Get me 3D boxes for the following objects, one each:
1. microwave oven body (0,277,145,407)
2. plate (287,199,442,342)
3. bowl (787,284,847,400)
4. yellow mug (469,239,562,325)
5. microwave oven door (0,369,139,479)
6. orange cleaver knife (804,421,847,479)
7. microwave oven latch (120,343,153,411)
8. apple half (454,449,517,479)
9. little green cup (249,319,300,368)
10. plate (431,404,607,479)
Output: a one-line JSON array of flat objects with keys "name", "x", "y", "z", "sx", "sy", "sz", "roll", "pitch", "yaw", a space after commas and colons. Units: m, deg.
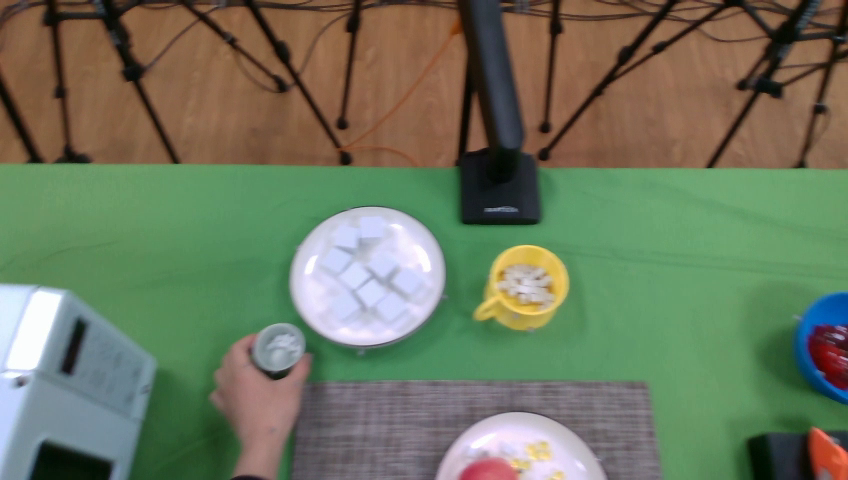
[{"name": "microwave oven body", "x": -0.508, "y": 0.274, "z": 0.571, "sx": 0.326, "sy": 0.262, "sz": 0.438, "roll": 4, "pitch": 65, "yaw": -1}, {"name": "plate", "x": -0.080, "y": 0.042, "z": 0.827, "sx": 0.208, "sy": 0.039, "sz": 0.206, "roll": 1, "pitch": 64, "yaw": -2}, {"name": "bowl", "x": 0.533, "y": 0.140, "z": 0.782, "sx": 0.151, "sy": 0.077, "sz": 0.150, "roll": 1, "pitch": 65, "yaw": -1}, {"name": "yellow mug", "x": 0.116, "y": 0.064, "z": 0.808, "sx": 0.131, "sy": 0.064, "sz": 0.099, "roll": -29, "pitch": 68, "yaw": -14}, {"name": "microwave oven door", "x": -0.364, "y": 0.318, "z": 0.550, "sx": 0.039, "sy": 0.245, "sz": 0.353, "roll": 3, "pitch": 64, "yaw": -1}, {"name": "orange cleaver knife", "x": 0.456, "y": 0.319, "z": 0.692, "sx": 0.012, "sy": 0.077, "sz": 0.211, "roll": 1, "pitch": 88, "yaw": 3}, {"name": "microwave oven latch", "x": -0.354, "y": 0.166, "z": 0.736, "sx": 0.030, "sy": 0.030, "sz": 0.078, "roll": 5, "pitch": 65, "yaw": 0}, {"name": "apple half", "x": 0.073, "y": 0.282, "z": 0.697, "sx": 0.075, "sy": 0.054, "sz": 0.080, "roll": -2, "pitch": 65, "yaw": 0}, {"name": "little green cup", "x": -0.189, "y": 0.135, "z": 0.776, "sx": 0.061, "sy": 0.039, "sz": 0.061, "roll": -1, "pitch": 68, "yaw": 2}, {"name": "plate", "x": 0.109, "y": 0.299, "z": 0.708, "sx": 0.209, "sy": 0.038, "sz": 0.207, "roll": 1, "pitch": 65, "yaw": -2}]
